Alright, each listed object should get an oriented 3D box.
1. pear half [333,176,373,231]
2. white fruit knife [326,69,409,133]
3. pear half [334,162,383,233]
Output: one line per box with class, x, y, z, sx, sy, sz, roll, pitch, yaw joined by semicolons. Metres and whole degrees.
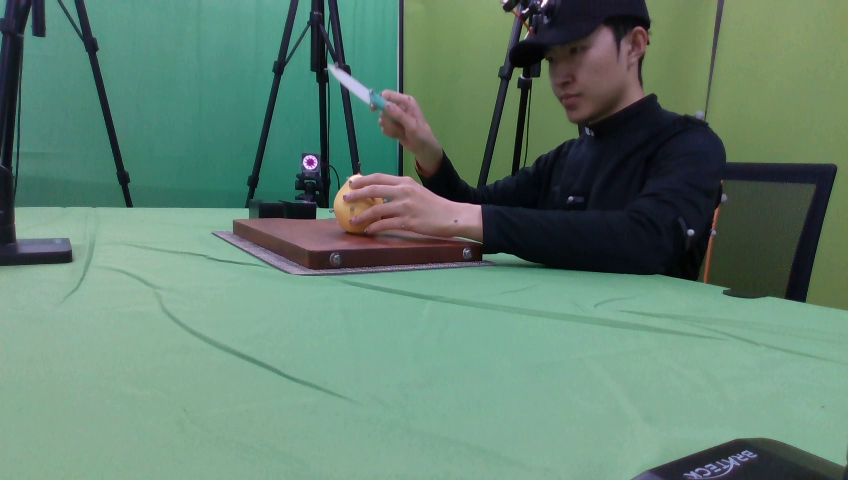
pear half;-0.117;-0.058;0.952;0.071;0.088;0.031;-15;17;-41
white fruit knife;-0.093;-0.241;1.044;0.016;0.027;0.208;3;-15;40
pear half;-0.094;-0.064;0.924;0.077;0.110;0.055;-12;16;-43
